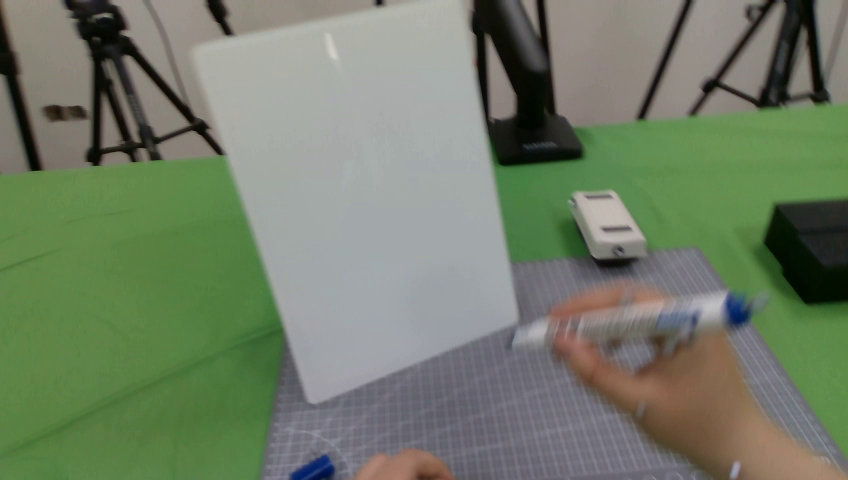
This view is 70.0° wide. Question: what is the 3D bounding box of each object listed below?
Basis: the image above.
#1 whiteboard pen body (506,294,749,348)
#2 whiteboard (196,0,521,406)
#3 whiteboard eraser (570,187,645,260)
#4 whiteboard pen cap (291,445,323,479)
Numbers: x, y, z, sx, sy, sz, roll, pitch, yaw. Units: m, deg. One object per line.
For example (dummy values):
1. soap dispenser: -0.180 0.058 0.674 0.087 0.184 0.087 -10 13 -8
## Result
1. whiteboard pen body: 0.094 0.045 0.313 0.140 0.017 0.017 -19 17 48
2. whiteboard: -0.058 -0.046 0.566 0.217 0.307 0.142 -18 20 -18
3. whiteboard eraser: 0.204 -0.020 0.680 0.055 0.042 0.111 -5 33 1
4. whiteboard pen cap: -0.090 0.175 0.462 0.018 0.018 0.033 6 55 13
